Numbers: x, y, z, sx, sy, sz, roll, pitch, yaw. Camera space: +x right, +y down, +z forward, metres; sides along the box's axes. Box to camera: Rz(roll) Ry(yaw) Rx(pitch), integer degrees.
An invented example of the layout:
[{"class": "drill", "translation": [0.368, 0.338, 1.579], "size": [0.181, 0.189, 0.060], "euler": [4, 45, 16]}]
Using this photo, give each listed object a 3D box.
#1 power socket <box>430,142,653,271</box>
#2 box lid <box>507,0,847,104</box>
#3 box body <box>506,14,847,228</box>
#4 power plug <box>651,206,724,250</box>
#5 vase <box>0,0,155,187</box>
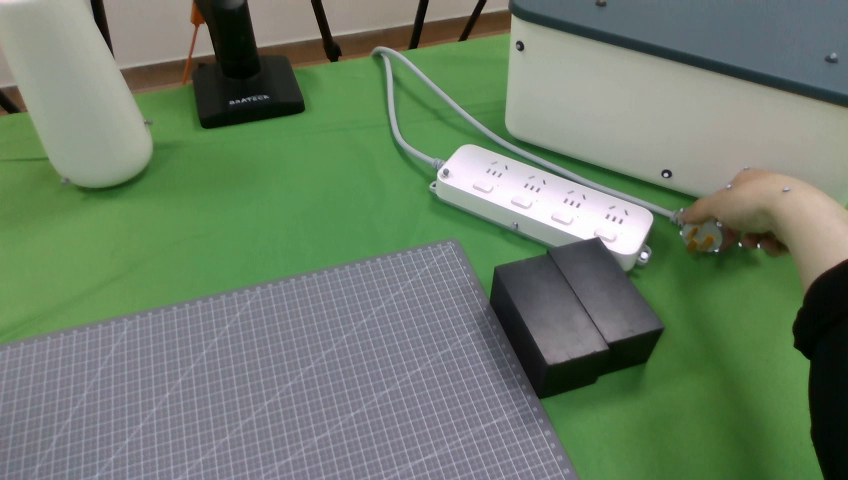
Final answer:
[{"class": "power socket", "translation": [0.115, -0.037, 0.598], "size": [0.225, 0.033, 0.072], "euler": [24, 51, 20]}, {"class": "box lid", "translation": [0.295, -0.237, 0.597], "size": [0.369, 0.015, 0.262], "euler": [22, 51, 18]}, {"class": "box body", "translation": [0.293, -0.187, 0.652], "size": [0.362, 0.162, 0.253], "euler": [22, 50, 18]}, {"class": "power plug", "translation": [0.251, -0.008, 0.585], "size": [0.072, 0.035, 0.052], "euler": [1, 28, 41]}, {"class": "vase", "translation": [-0.330, -0.148, 0.577], "size": [0.098, 0.202, 0.097], "euler": [1, 46, -1]}]
